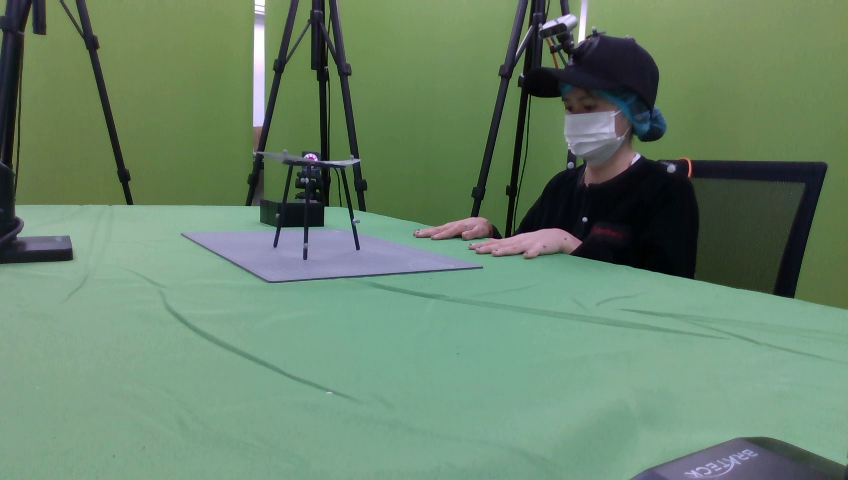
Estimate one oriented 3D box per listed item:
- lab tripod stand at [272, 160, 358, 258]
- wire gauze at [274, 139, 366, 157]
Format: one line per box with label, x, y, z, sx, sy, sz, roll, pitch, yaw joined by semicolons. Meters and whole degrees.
lab tripod stand;-0.159;-0.048;0.876;0.148;0.131;0.148;3;5;0
wire gauze;-0.153;-0.130;0.869;0.122;0.011;0.124;-3;1;-15
